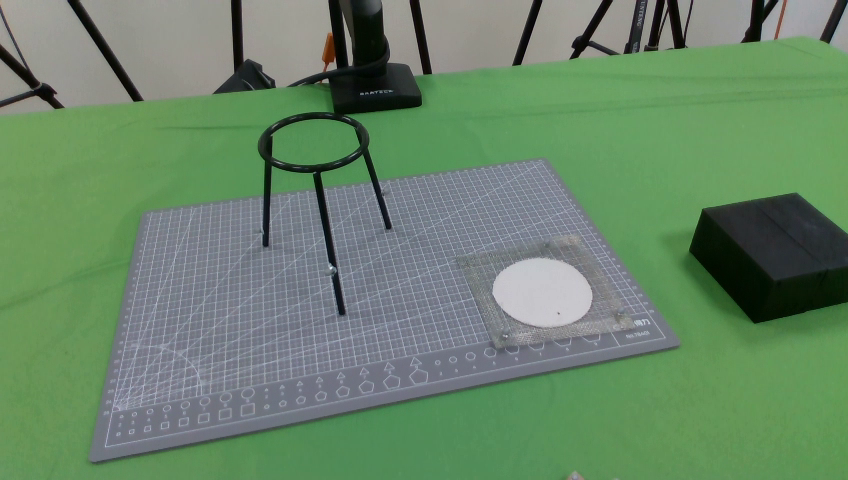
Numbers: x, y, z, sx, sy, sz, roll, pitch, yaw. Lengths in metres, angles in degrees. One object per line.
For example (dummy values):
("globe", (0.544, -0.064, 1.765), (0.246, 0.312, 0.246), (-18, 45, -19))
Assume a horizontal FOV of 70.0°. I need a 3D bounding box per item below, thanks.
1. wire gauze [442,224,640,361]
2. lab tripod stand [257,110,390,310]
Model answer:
("wire gauze", (0.098, 0.036, 0.520), (0.122, 0.011, 0.123), (-20, 50, -24))
("lab tripod stand", (-0.087, -0.033, 0.531), (0.148, 0.132, 0.147), (1, 40, 0))
